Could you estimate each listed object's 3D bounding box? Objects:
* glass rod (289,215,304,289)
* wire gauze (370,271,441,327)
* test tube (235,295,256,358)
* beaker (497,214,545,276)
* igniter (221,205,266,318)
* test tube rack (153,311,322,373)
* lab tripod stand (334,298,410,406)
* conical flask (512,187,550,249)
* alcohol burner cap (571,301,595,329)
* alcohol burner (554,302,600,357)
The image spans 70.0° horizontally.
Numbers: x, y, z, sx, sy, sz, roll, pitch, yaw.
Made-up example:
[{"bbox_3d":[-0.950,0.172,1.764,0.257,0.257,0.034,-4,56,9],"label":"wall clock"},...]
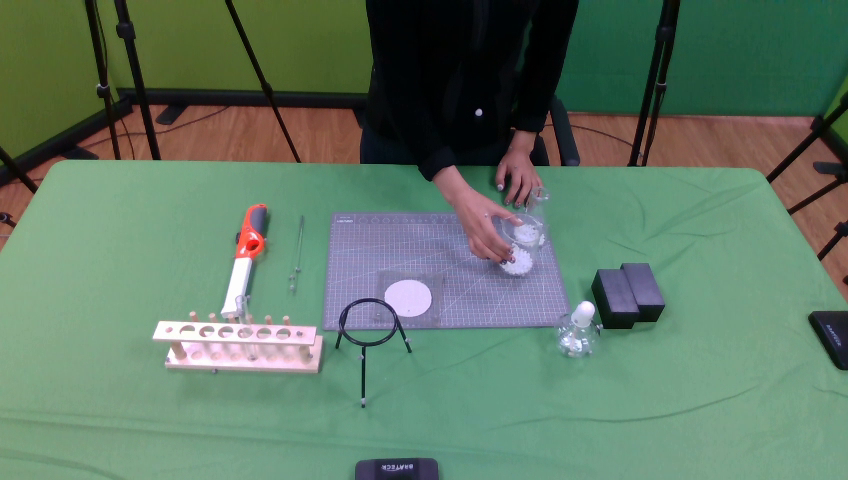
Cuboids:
[{"bbox_3d":[-0.247,0.019,1.171,0.008,0.008,0.198,0,43,-3],"label":"glass rod"},{"bbox_3d":[-0.032,0.103,1.104,0.125,0.011,0.121,4,46,3],"label":"wire gauze"},{"bbox_3d":[-0.274,0.136,0.933,0.017,0.151,0.017,4,45,-4],"label":"test tube"},{"bbox_3d":[0.174,0.011,1.127,0.083,0.101,0.074,28,51,22],"label":"beaker"},{"bbox_3d":[-0.338,0.030,1.140,0.057,0.025,0.274,-5,46,4],"label":"igniter"},{"bbox_3d":[-0.293,0.160,0.978,0.242,0.085,0.066,3,46,-2],"label":"test tube rack"},{"bbox_3d":[-0.086,0.164,0.957,0.148,0.132,0.147,3,44,-2],"label":"lab tripod stand"},{"bbox_3d":[0.217,-0.048,1.190,0.075,0.122,0.075,2,46,-2],"label":"conical flask"},{"bbox_3d":[0.262,0.120,0.991,0.034,0.048,0.033,2,52,-2],"label":"alcohol burner cap"},{"bbox_3d":[0.260,0.143,1.018,0.078,0.119,0.077,3,45,-3],"label":"alcohol burner"}]
